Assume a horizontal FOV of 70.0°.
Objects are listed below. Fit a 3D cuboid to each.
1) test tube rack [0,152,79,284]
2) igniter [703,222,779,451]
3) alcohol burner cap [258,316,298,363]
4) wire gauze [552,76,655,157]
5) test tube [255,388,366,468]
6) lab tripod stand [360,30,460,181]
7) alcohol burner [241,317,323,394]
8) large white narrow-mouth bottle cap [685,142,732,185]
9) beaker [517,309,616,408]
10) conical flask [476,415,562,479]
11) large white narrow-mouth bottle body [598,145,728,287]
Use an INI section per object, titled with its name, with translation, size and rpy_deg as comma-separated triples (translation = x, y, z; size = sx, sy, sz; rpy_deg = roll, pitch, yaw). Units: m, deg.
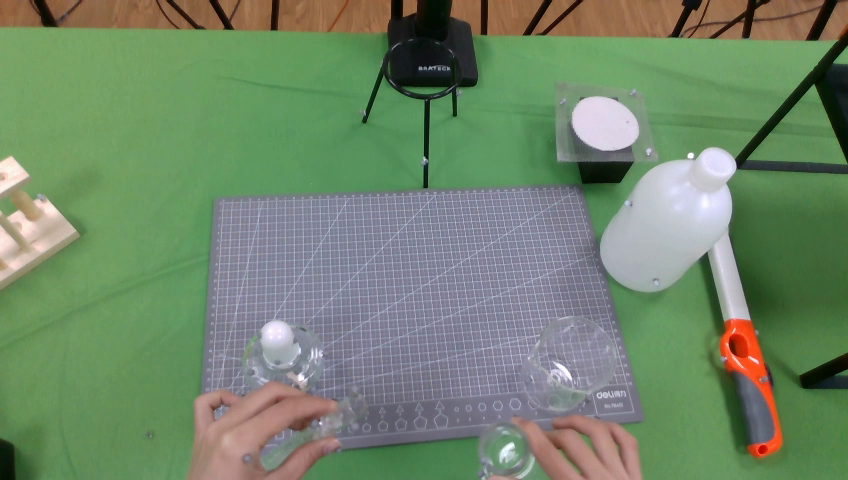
[test tube rack]
translation = -0.485, 0.024, 0.597
size = 0.066, 0.086, 0.242
rpy_deg = 41, 66, 15
[igniter]
translation = 0.351, 0.096, 0.685
size = 0.057, 0.025, 0.274
rpy_deg = 8, 61, -13
[alcohol burner cap]
translation = -0.133, 0.087, 0.543
size = 0.034, 0.048, 0.033
rpy_deg = 2, 57, -2
[wire gauze]
translation = 0.221, -0.153, 0.757
size = 0.121, 0.011, 0.124
rpy_deg = 4, 62, -4
[test tube]
translation = -0.088, 0.142, 0.446
size = 0.017, 0.150, 0.017
rpy_deg = 25, 45, -28
[lab tripod stand]
translation = -0.007, -0.166, 0.724
size = 0.148, 0.132, 0.147
rpy_deg = 3, 63, -6
[alcohol burner]
translation = -0.136, 0.104, 0.575
size = 0.078, 0.120, 0.077
rpy_deg = 4, 60, -6
[large white narrow-mouth bottle cap]
translation = 0.268, -0.073, 0.573
size = 0.038, 0.024, 0.037
rpy_deg = 2, 62, -4
[beaker]
translation = 0.133, 0.123, 0.603
size = 0.084, 0.101, 0.073
rpy_deg = -6, 62, -8
[conical flask]
translation = 0.070, 0.170, 0.487
size = 0.075, 0.123, 0.074
rpy_deg = -6, 62, 12
[large white narrow-mouth bottle body]
translation = 0.261, -0.031, 0.647
size = 0.102, 0.196, 0.101
rpy_deg = 2, 61, -4
